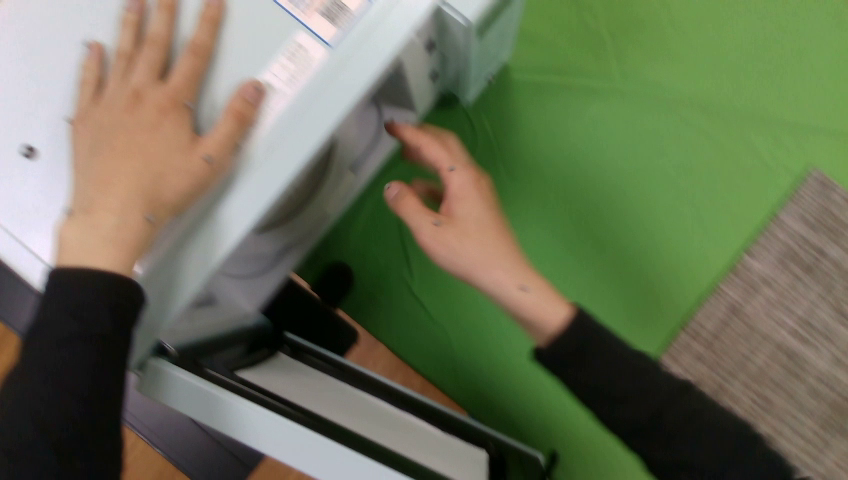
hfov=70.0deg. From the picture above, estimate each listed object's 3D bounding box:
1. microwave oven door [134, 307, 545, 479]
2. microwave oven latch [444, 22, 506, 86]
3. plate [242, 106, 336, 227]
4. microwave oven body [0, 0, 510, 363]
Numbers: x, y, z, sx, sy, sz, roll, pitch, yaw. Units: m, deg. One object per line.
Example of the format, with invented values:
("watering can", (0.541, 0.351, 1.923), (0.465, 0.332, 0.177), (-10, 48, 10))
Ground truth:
("microwave oven door", (-0.043, 0.164, 0.553), (0.355, 0.244, 0.039), (24, 91, 3))
("microwave oven latch", (0.054, -0.206, 0.651), (0.030, 0.029, 0.079), (41, 92, 2))
("plate", (-0.190, -0.116, 0.621), (0.209, 0.038, 0.209), (0, 91, 4))
("microwave oven body", (-0.178, -0.161, 0.565), (0.326, 0.260, 0.441), (39, 92, 2))
